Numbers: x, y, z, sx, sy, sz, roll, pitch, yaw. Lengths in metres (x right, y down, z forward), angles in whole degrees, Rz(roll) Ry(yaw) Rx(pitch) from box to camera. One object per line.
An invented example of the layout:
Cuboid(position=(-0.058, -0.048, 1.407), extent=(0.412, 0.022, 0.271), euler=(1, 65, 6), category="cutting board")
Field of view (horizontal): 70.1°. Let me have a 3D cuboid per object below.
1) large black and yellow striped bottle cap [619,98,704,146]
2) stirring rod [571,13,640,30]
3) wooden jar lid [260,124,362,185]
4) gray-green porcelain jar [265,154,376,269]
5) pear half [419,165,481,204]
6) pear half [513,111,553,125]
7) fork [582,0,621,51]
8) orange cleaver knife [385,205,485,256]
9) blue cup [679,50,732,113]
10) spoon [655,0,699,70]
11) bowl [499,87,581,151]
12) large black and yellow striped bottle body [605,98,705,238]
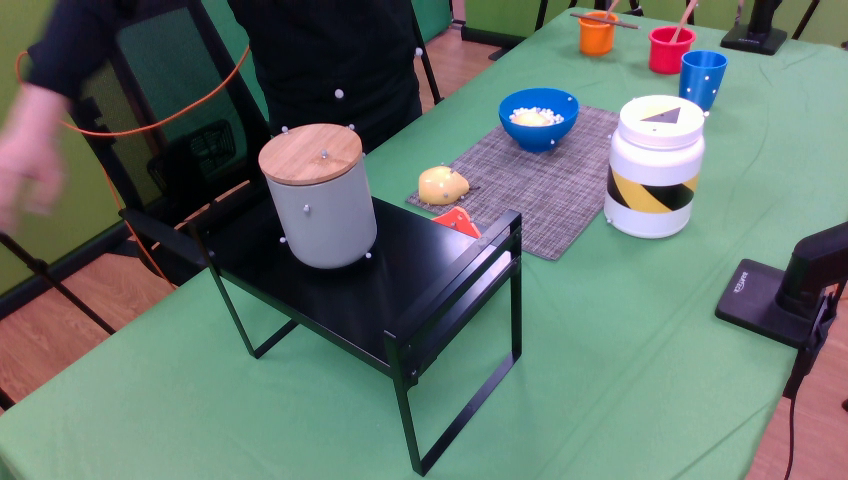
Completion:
Cuboid(position=(0.341, -0.172, 0.872), extent=(0.115, 0.019, 0.114), euler=(-4, 39, 4), category="large black and yellow striped bottle cap")
Cuboid(position=(0.419, -0.508, 1.404), extent=(0.174, 0.006, 0.014), euler=(28, 55, 35), category="stirring rod")
Cuboid(position=(-0.119, -0.088, 0.644), extent=(0.108, 0.021, 0.108), euler=(-4, 40, 4), category="wooden jar lid")
Cuboid(position=(-0.112, -0.039, 0.685), extent=(0.106, 0.127, 0.105), euler=(-4, 40, 4), category="gray-green porcelain jar")
Cuboid(position=(0.046, -0.103, 1.067), extent=(0.110, 0.056, 0.076), euler=(-3, 46, 0), category="pear half")
Cuboid(position=(0.212, -0.227, 1.152), extent=(0.088, 0.031, 0.070), euler=(6, 44, 11), category="pear half")
Cuboid(position=(0.446, -0.538, 1.438), extent=(0.207, 0.019, 0.028), euler=(-57, 36, 12), category="fork")
Cuboid(position=(0.012, -0.010, 0.942), extent=(0.012, 0.077, 0.210), euler=(-36, 19, -35), category="orange cleaver knife")
Cuboid(position=(0.545, -0.309, 1.193), extent=(0.092, 0.100, 0.092), euler=(-4, 39, 3), category="blue cup")
Cuboid(position=(0.567, -0.463, 1.337), extent=(0.041, 0.022, 0.193), euler=(30, 96, 38), category="spoon")
Cuboid(position=(0.220, -0.223, 1.155), extent=(0.151, 0.077, 0.150), euler=(-4, 40, 4), category="bowl")
Cuboid(position=(0.351, -0.110, 0.928), extent=(0.131, 0.185, 0.130), euler=(-5, 41, 5), category="large black and yellow striped bottle body")
